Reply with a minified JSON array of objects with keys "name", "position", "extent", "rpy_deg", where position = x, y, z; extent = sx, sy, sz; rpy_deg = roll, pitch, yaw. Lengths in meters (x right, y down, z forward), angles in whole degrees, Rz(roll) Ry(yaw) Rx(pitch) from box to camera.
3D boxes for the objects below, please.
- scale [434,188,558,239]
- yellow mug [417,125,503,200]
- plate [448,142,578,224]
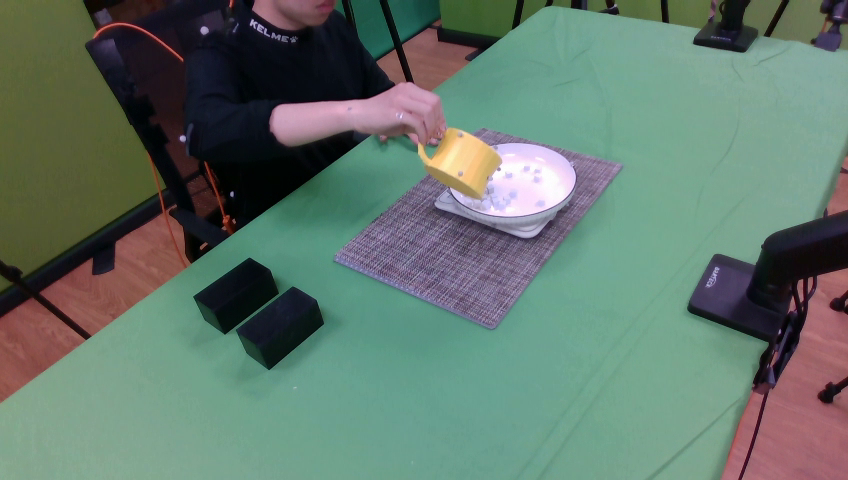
[{"name":"scale","position":[0.132,-0.075,1.025],"extent":[0.199,0.032,0.149],"rpy_deg":[22,48,30]},{"name":"yellow mug","position":[0.046,-0.119,0.881],"extent":[0.064,0.132,0.099],"rpy_deg":[-62,26,-4]},{"name":"plate","position":[0.145,-0.089,0.989],"extent":[0.209,0.038,0.208],"rpy_deg":[-4,41,4]}]
